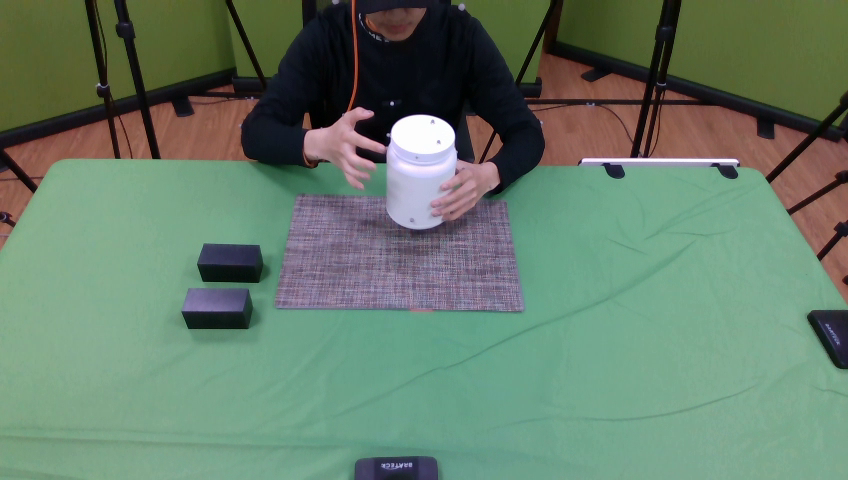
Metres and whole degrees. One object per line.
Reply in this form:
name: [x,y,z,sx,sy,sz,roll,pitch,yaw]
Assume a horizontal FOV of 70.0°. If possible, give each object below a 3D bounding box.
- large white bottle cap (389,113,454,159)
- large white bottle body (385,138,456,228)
large white bottle cap: [-0.004,-0.187,1.082,0.115,0.018,0.114,2,47,-2]
large white bottle body: [-0.008,-0.128,1.146,0.131,0.185,0.130,2,47,-2]
